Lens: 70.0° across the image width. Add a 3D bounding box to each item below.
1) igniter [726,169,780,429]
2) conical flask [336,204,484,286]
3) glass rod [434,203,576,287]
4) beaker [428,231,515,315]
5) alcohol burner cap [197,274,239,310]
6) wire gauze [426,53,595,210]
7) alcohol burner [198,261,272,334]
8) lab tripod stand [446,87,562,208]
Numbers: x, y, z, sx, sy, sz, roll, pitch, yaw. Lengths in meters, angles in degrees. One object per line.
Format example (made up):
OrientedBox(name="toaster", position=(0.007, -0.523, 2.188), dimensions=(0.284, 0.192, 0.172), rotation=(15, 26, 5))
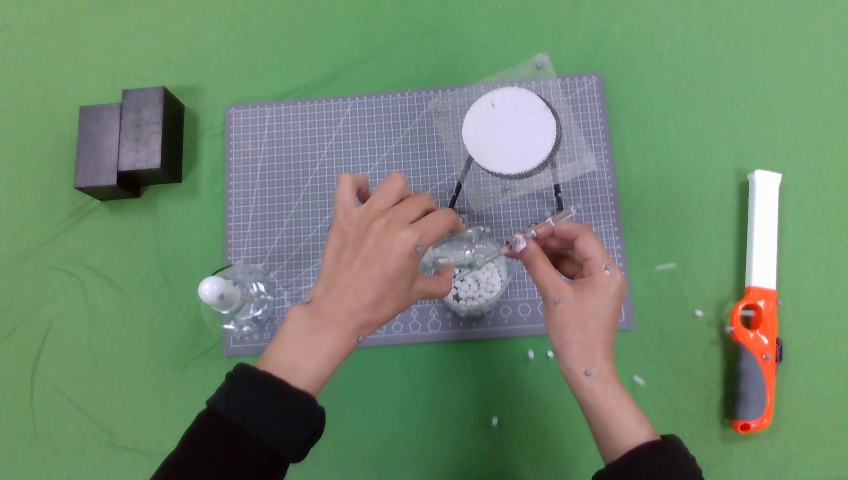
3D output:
OrientedBox(name="igniter", position=(0.347, 0.059, 0.636), dimensions=(0.057, 0.025, 0.275), rotation=(10, 79, -4))
OrientedBox(name="conical flask", position=(-0.010, 0.005, 0.533), dimensions=(0.121, 0.076, 0.075), rotation=(2, 77, 22))
OrientedBox(name="glass rod", position=(0.061, 0.009, 0.530), dimensions=(0.008, 0.199, 0.008), rotation=(13, 63, -28))
OrientedBox(name="beaker", position=(0.048, 0.038, 0.622), dimensions=(0.084, 0.101, 0.073), rotation=(-6, 77, 2))
OrientedBox(name="alcohol burner cap", position=(-0.203, 0.049, 0.593), dimensions=(0.034, 0.048, 0.033), rotation=(0, 75, -1))
OrientedBox(name="wire gauze", position=(0.079, -0.101, 0.563), dimensions=(0.125, 0.011, 0.121), rotation=(-20, 79, 1))
OrientedBox(name="alcohol burner", position=(-0.202, 0.058, 0.628), dimensions=(0.078, 0.119, 0.077), rotation=(0, 79, 3))
OrientedBox(name="lab tripod stand", position=(0.085, -0.085, 0.628), dimensions=(0.148, 0.132, 0.148), rotation=(-1, 79, 5))
